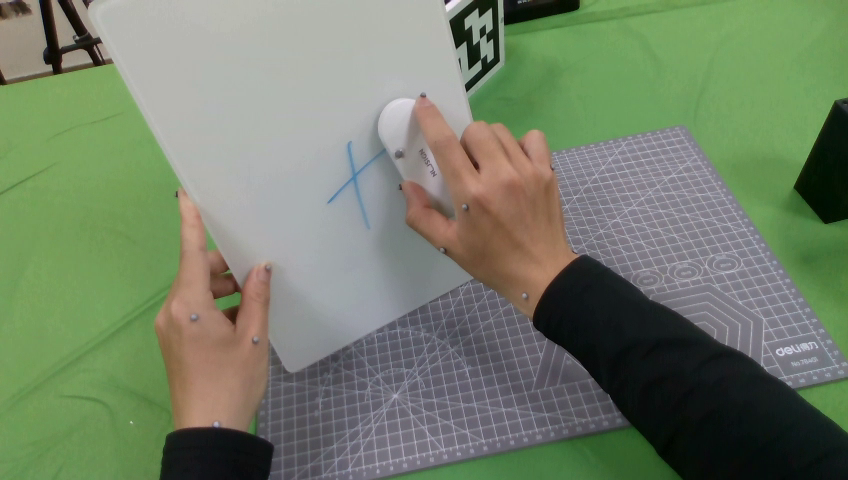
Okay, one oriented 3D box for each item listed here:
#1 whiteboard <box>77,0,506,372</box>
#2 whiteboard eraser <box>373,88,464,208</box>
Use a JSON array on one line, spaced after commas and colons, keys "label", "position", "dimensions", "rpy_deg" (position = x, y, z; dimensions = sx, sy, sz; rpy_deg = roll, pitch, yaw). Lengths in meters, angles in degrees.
[{"label": "whiteboard", "position": [-0.088, -0.089, 0.498], "dimensions": [0.217, 0.308, 0.142], "rpy_deg": [-27, 33, -12]}, {"label": "whiteboard eraser", "position": [-0.003, -0.068, 0.457], "dimensions": [0.041, 0.102, 0.018], "rpy_deg": [-36, 32, -7]}]
